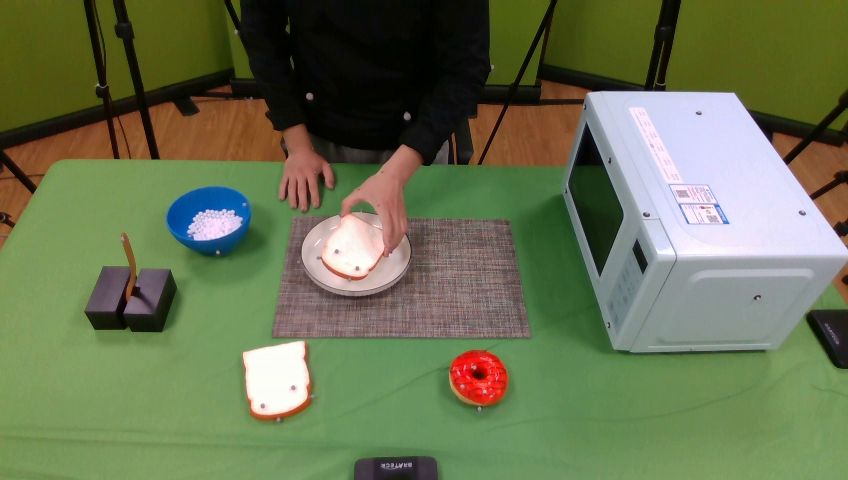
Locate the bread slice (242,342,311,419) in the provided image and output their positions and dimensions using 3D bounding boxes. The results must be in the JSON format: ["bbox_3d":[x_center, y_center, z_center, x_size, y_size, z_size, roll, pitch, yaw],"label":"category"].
[{"bbox_3d":[-0.233,0.223,0.970,0.105,0.019,0.130,-10,46,-12],"label":"bread slice"}]

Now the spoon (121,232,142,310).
[{"bbox_3d":[-0.479,0.051,0.994,0.022,0.194,0.041,13,46,-11],"label":"spoon"}]

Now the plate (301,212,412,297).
[{"bbox_3d":[-0.126,0.031,1.146,0.208,0.039,0.206,2,45,-2],"label":"plate"}]

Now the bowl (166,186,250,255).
[{"bbox_3d":[-0.403,-0.024,1.154,0.151,0.077,0.150,2,46,-2],"label":"bowl"}]

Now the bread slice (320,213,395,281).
[{"bbox_3d":[-0.125,0.016,1.100,0.107,0.018,0.134,21,49,5],"label":"bread slice"}]

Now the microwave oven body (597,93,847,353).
[{"bbox_3d":[0.475,-0.041,1.109,0.326,0.261,0.438,-1,45,-4],"label":"microwave oven body"}]

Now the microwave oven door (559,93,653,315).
[{"bbox_3d":[0.327,-0.074,1.123,0.039,0.245,0.353,-1,46,-5],"label":"microwave oven door"}]

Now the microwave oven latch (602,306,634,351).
[{"bbox_3d":[0.332,0.153,1.044,0.030,0.029,0.078,0,45,-4],"label":"microwave oven latch"}]

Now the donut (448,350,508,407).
[{"bbox_3d":[0.087,0.223,0.977,0.099,0.048,0.098,4,46,-4],"label":"donut"}]
